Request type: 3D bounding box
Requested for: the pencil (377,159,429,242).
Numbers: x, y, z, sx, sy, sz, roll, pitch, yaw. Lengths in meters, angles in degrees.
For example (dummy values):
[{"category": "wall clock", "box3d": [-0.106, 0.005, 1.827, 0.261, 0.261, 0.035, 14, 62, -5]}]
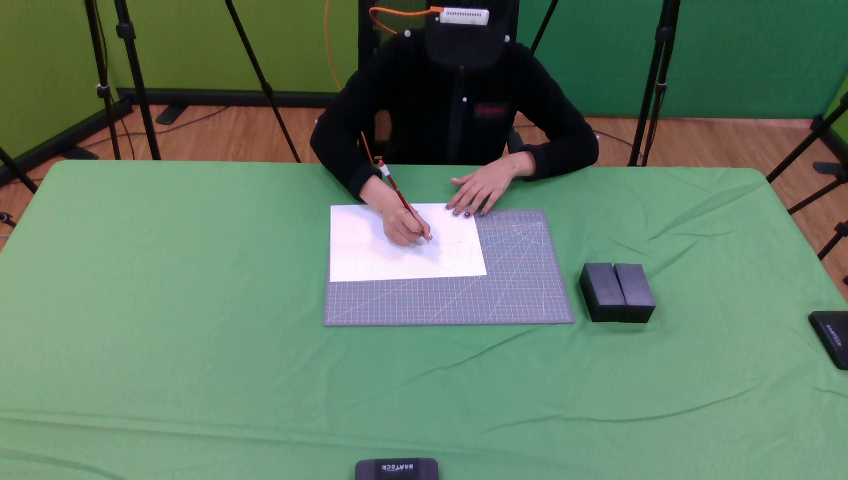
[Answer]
[{"category": "pencil", "box3d": [-0.037, -0.072, 1.163, 0.012, 0.195, 0.012, -26, 24, 13]}]
